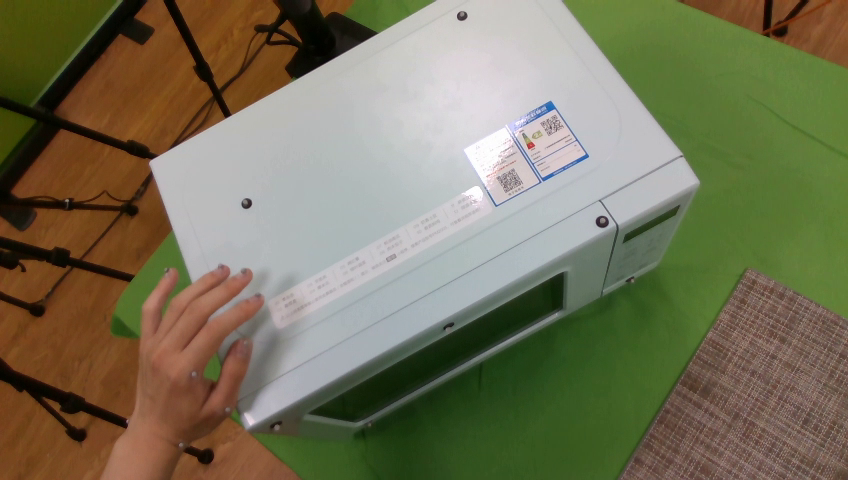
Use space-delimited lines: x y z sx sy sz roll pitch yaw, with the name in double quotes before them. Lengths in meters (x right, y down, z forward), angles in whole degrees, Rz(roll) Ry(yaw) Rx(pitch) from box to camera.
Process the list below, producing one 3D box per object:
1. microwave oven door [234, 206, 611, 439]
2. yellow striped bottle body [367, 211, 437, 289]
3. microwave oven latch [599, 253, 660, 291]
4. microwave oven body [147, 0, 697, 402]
"microwave oven door" 0.019 0.099 0.615 0.356 0.246 0.039 -29 67 1
"yellow striped bottle body" -0.024 0.009 0.670 0.063 0.121 0.062 -3 70 9
"microwave oven latch" 0.233 0.028 0.705 0.079 0.030 0.030 -27 68 2
"microwave oven body" -0.007 -0.038 0.673 0.442 0.262 0.323 -29 68 2
